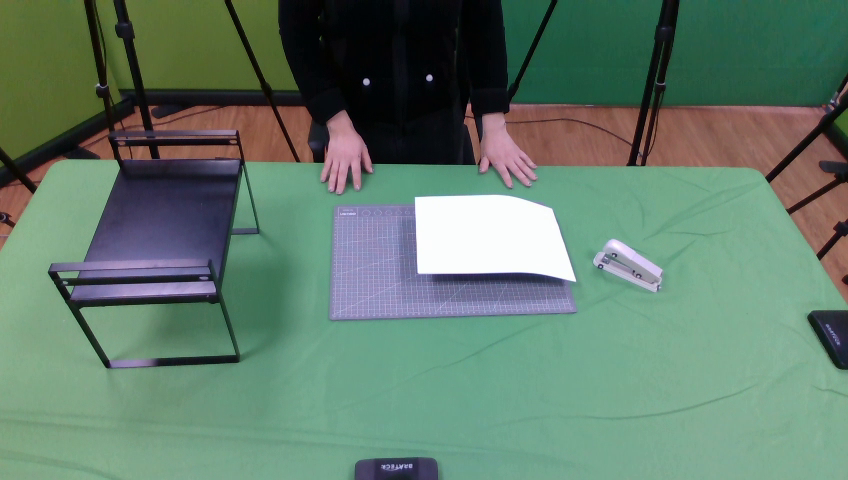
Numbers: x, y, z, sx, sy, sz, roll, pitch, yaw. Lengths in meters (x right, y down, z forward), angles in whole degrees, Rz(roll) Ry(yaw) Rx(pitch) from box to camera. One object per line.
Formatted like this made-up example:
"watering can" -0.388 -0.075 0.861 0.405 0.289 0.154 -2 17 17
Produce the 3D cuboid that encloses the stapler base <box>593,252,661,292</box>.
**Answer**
"stapler base" 0.395 0.054 1.174 0.130 0.024 0.041 26 52 18

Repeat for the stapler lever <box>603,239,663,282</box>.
"stapler lever" 0.398 0.037 1.155 0.117 0.040 0.027 27 53 18
